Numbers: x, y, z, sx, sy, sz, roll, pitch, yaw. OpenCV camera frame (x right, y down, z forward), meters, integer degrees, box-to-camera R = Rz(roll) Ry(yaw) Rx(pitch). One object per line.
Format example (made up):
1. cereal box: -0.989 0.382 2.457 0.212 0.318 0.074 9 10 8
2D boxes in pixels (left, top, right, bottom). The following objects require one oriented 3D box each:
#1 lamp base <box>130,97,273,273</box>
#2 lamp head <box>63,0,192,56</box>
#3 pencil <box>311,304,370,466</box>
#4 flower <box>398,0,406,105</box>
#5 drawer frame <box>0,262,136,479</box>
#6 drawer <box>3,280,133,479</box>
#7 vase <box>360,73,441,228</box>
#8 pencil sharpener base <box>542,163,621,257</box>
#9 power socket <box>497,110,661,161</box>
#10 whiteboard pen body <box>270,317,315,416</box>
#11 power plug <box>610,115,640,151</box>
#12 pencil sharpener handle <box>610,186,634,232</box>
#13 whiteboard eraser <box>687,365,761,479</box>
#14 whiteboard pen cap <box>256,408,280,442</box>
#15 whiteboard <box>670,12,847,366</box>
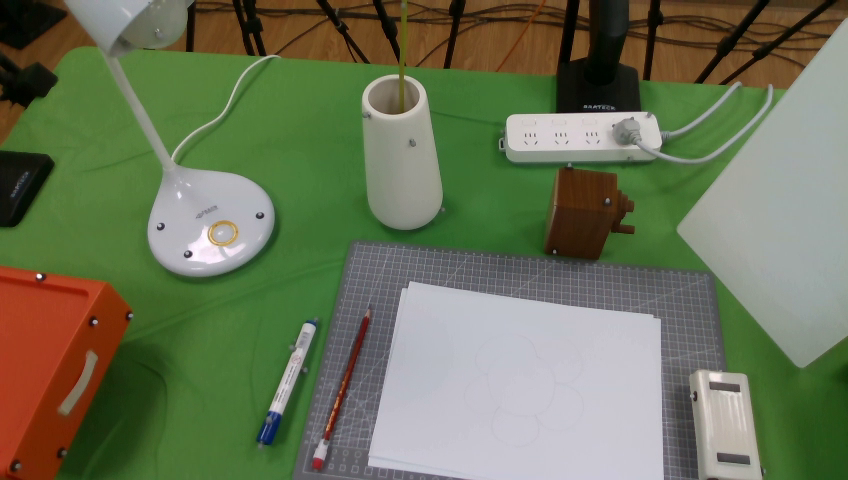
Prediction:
1. lamp base: -0.290 -0.075 0.731 0.178 0.182 0.160 34 64 25
2. lamp head: -0.253 -0.226 0.482 0.123 0.112 0.112 46 63 -15
3. pencil: -0.088 0.153 0.673 0.012 0.012 0.192 10 56 10
4. flower: -0.025 -0.161 0.668 0.038 0.365 0.043 -4 38 -9
5. drawer frame: -0.446 0.125 0.614 0.213 0.083 0.200 8 58 5
6. drawer: -0.440 0.124 0.612 0.211 0.074 0.193 8 58 7
7. vase: -0.031 -0.102 0.728 0.098 0.202 0.097 -2 56 3
8. pencil sharpener base: 0.188 -0.033 0.729 0.076 0.108 0.061 7 57 7
9. power socket: 0.217 -0.146 0.847 0.227 0.033 0.071 0 57 2
10. whiteboard pen body: -0.149 0.148 0.673 0.017 0.017 0.139 9 54 9
11. power plug: 0.266 -0.135 0.810 0.035 0.053 0.072 9 59 9
12. pencil sharpener handle: 0.238 -0.034 0.713 0.030 0.068 0.035 7 56 7
13. whiteboard eraser: 0.303 0.186 0.617 0.055 0.042 0.112 6 57 4
14. whiteboard pen cap: -0.163 0.194 0.639 0.018 0.018 0.033 9 52 9
15. whiteboard: 0.461 -0.048 0.647 0.144 0.307 0.215 -12 54 -28
